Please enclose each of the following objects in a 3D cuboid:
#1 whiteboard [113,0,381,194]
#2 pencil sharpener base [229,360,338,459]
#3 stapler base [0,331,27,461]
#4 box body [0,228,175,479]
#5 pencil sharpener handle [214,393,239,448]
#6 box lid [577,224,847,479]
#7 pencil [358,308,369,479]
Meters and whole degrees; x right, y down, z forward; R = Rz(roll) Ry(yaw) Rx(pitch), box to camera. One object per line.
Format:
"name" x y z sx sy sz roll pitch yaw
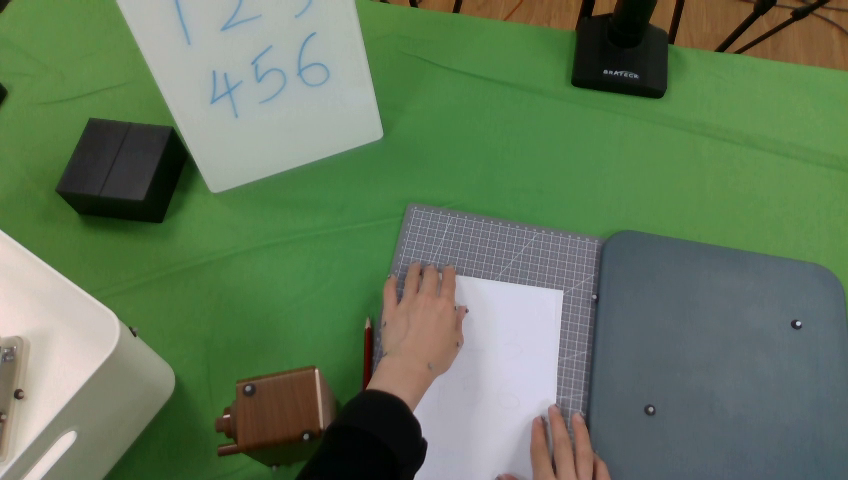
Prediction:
"whiteboard" -0.195 -0.242 0.668 0.217 0.308 0.142 -20 46 -10
"pencil sharpener base" -0.124 0.156 0.548 0.077 0.108 0.061 -10 64 -4
"stapler base" -0.420 0.149 0.589 0.041 0.024 0.129 -9 66 -3
"box body" -0.446 0.107 0.538 0.362 0.161 0.253 30 67 13
"pencil sharpener handle" -0.174 0.163 0.530 0.031 0.068 0.035 -10 47 -4
"box lid" 0.293 0.160 0.603 0.263 0.015 0.369 11 64 4
"pencil" -0.060 0.159 0.600 0.012 0.012 0.192 -2 63 -1
